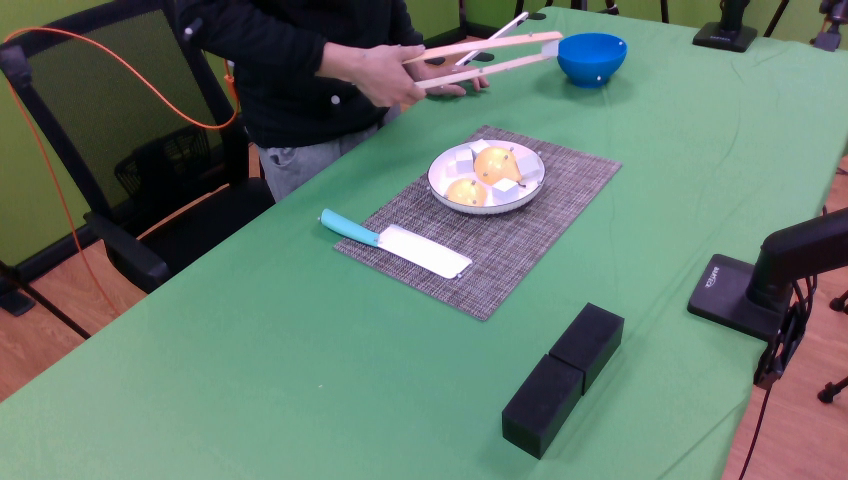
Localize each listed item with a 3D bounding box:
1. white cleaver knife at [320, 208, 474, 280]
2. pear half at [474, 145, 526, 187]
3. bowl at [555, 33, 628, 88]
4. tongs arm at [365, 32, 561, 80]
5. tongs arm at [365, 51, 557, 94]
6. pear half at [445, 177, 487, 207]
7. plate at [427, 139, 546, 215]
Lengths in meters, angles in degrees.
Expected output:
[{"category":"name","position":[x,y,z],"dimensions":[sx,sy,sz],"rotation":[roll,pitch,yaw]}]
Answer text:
[{"category":"white cleaver knife","position":[-0.053,0.001,0.978],"dimensions":[0.284,0.021,0.066],"rotation":[23,40,26]},{"category":"pear half","position":[0.140,-0.129,1.059],"dimensions":[0.076,0.056,0.109],"rotation":[-37,53,-25]},{"category":"bowl","position":[0.361,-0.384,1.318],"dimensions":[0.151,0.077,0.150],"rotation":[-4,41,4]},{"category":"tongs arm","position":[0.080,-0.335,1.074],"dimensions":[0.389,0.028,0.027],"rotation":[-17,52,-21]},{"category":"tongs arm","position":[0.078,-0.316,1.092],"dimensions":[0.386,0.051,0.026],"rotation":[-19,49,-19]},{"category":"pear half","position":[0.072,-0.086,1.032],"dimensions":[0.070,0.031,0.087],"rotation":[-21,37,-10]},{"category":"plate","position":[0.109,-0.106,1.059],"dimensions":[0.207,0.039,0.206],"rotation":[-4,41,4]}]
